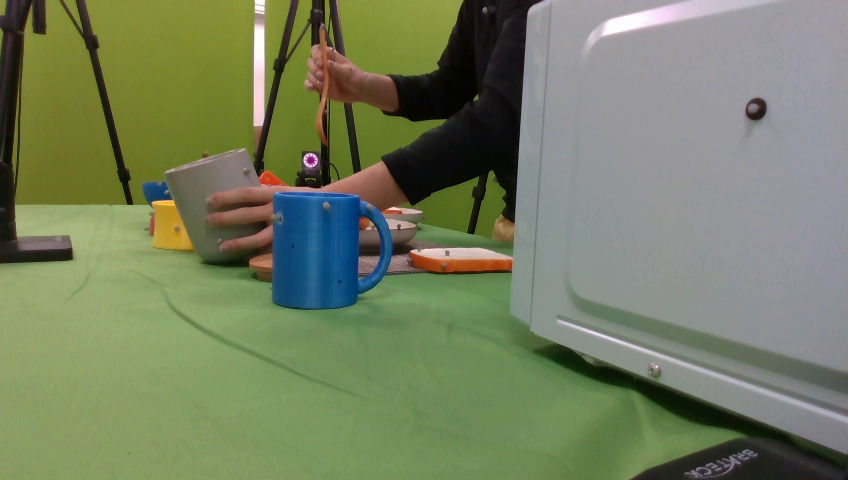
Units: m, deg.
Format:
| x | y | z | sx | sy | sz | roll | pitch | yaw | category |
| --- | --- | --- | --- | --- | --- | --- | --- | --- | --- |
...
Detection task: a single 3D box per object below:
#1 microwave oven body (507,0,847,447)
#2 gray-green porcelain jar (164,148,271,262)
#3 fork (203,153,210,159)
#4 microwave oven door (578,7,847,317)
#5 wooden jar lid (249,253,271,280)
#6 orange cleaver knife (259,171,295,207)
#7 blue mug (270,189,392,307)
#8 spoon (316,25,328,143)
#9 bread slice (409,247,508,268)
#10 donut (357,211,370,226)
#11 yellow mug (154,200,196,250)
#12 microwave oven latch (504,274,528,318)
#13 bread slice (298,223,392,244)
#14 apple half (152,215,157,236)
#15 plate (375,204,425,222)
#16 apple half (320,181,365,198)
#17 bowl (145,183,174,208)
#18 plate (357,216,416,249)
| x | y | z | sx | sy | sz | roll | pitch | yaw | category |
| --- | --- | --- | --- | --- | --- | --- | --- | --- | --- |
| 0.331 | -0.042 | 0.425 | 0.444 | 0.260 | 0.324 | -2 | 8 | -31 | microwave oven body |
| -0.257 | -0.043 | 0.778 | 0.106 | 0.126 | 0.106 | -16 | 15 | 5 | gray-green porcelain jar |
| -0.480 | -0.135 | 1.411 | 0.028 | 0.018 | 0.207 | 1 | -34 | 0 | fork |
| 0.294 | -0.067 | 0.570 | 0.358 | 0.243 | 0.039 | -3 | 9 | -31 | microwave oven door |
| -0.148 | 0.028 | 0.708 | 0.108 | 0.020 | 0.108 | -1 | 9 | 0 | wooden jar lid |
| -0.283 | -0.086 | 1.343 | 0.212 | 0.077 | 0.012 | 24 | -16 | -41 | orange cleaver knife |
| -0.090 | 0.005 | 0.588 | 0.117 | 0.106 | 0.082 | 1 | 7 | -11 | blue mug |
| -0.164 | -0.254 | 0.986 | 0.022 | 0.193 | 0.041 | 1 | -3 | -4 | spoon |
| 0.048 | 0.022 | 0.816 | 0.132 | 0.019 | 0.104 | 0 | 6 | -24 | bread slice |
| -0.132 | -0.042 | 0.959 | 0.099 | 0.048 | 0.099 | 2 | 7 | 0 | donut |
| -0.337 | -0.023 | 0.899 | 0.130 | 0.064 | 0.100 | 8 | 9 | 34 | yellow mug |
| 0.100 | 0.041 | 0.471 | 0.079 | 0.029 | 0.030 | -1 | 7 | -27 | microwave oven latch |
| -0.121 | -0.013 | 0.971 | 0.106 | 0.018 | 0.135 | 10 | 12 | 41 | bread slice |
| -0.415 | -0.034 | 1.017 | 0.081 | 0.053 | 0.074 | 1 | 10 | -9 | apple half |
| -0.102 | -0.053 | 1.299 | 0.209 | 0.038 | 0.209 | 2 | 8 | 0 | plate |
| -0.130 | -0.077 | 0.952 | 0.081 | 0.033 | 0.081 | 3 | 14 | 0 | apple half |
| -0.459 | -0.069 | 1.175 | 0.151 | 0.077 | 0.151 | 3 | 7 | 0 | bowl |
| -0.116 | -0.014 | 0.967 | 0.208 | 0.039 | 0.207 | 2 | 7 | 0 | plate |
